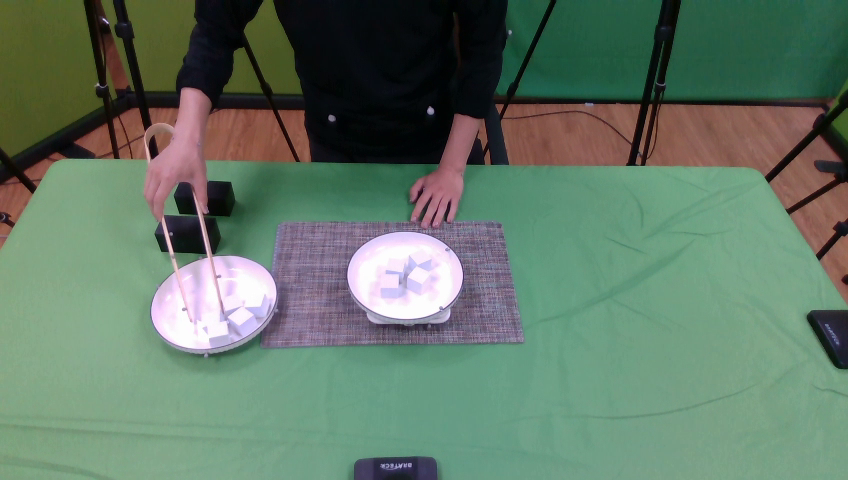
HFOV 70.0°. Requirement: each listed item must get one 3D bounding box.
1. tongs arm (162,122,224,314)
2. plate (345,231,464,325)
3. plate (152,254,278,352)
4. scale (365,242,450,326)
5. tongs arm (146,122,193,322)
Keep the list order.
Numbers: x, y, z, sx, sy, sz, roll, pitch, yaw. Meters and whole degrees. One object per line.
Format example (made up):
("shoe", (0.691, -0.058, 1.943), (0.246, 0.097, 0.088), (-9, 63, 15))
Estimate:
("tongs arm", (-0.412, -0.047, 1.086), (0.028, 0.028, 0.386), (-17, 72, -12))
("plate", (-0.034, 0.069, 1.069), (0.209, 0.038, 0.208), (2, 46, -2))
("plate", (-0.357, 0.111, 1.052), (0.208, 0.039, 0.206), (2, 46, -2))
("scale", (-0.032, 0.071, 1.113), (0.149, 0.032, 0.199), (0, 46, -4))
("tongs arm", (-0.441, -0.040, 1.078), (0.051, 0.026, 0.383), (-18, 72, -16))
